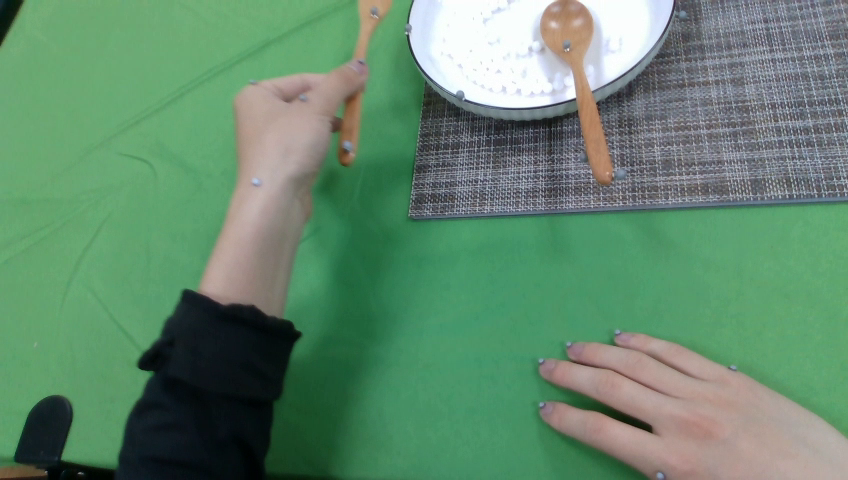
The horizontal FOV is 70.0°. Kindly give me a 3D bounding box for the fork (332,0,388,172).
[{"bbox_3d":[-0.048,-0.135,0.454,0.028,0.019,0.205,3,57,3],"label":"fork"}]

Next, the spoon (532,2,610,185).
[{"bbox_3d":[0.105,-0.111,0.430,0.041,0.022,0.192,-7,48,9],"label":"spoon"}]

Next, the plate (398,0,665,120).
[{"bbox_3d":[0.083,-0.178,0.489,0.207,0.039,0.206,-7,62,13],"label":"plate"}]
